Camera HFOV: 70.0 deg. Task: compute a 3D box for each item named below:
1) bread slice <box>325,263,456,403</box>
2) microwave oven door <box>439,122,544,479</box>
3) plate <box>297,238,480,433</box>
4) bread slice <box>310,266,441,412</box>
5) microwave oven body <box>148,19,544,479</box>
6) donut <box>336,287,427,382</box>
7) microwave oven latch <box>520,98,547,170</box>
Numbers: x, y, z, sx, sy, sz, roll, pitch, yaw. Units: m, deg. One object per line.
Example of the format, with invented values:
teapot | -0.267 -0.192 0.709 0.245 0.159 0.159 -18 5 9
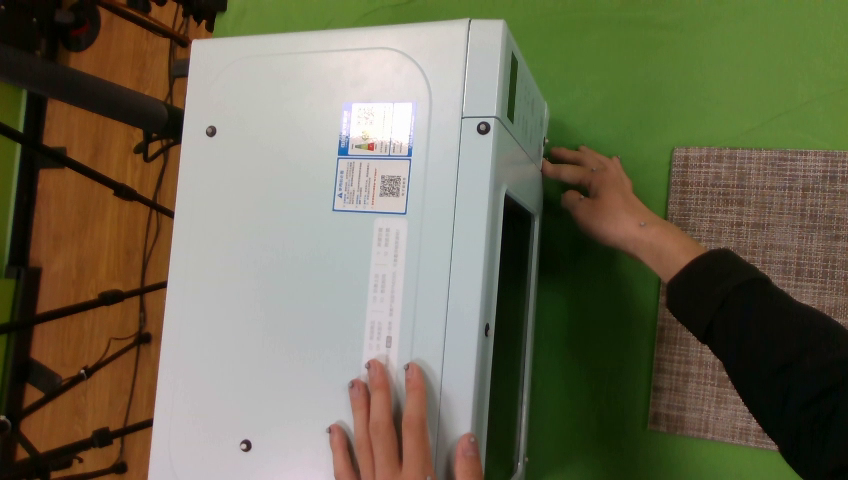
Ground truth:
bread slice | -0.045 0.093 0.656 0.107 0.018 0.133 -46 69 3
microwave oven door | 0.067 0.094 0.565 0.039 0.245 0.355 3 86 20
plate | -0.038 0.102 0.661 0.207 0.039 0.207 -1 86 17
bread slice | -0.060 0.094 0.611 0.105 0.019 0.131 -40 76 16
microwave oven body | -0.065 0.046 0.622 0.325 0.261 0.441 3 87 19
donut | -0.045 0.098 0.634 0.099 0.048 0.099 -1 84 14
microwave oven latch | 0.119 -0.116 0.672 0.030 0.029 0.079 8 89 20
